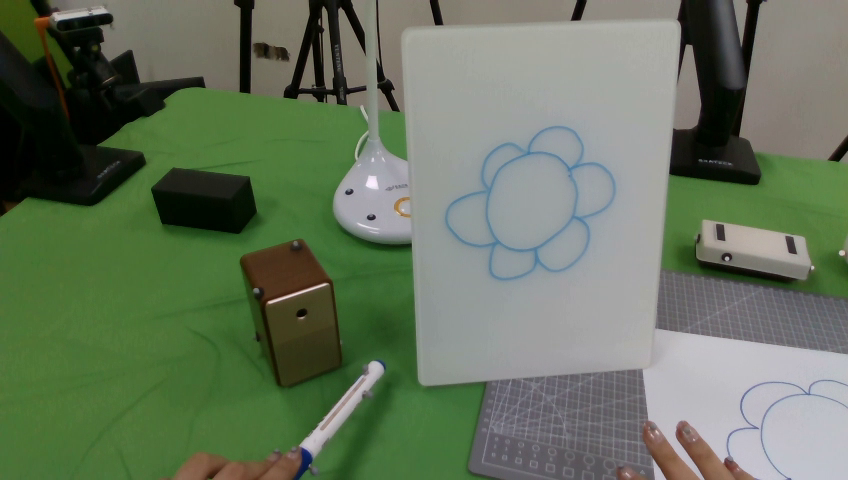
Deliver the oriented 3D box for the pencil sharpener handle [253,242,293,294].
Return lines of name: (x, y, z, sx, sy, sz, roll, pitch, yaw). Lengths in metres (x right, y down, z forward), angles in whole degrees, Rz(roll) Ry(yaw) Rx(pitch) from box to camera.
pencil sharpener handle: (-0.142, 0.021, 0.572, 0.036, 0.068, 0.030, -25, 43, -17)

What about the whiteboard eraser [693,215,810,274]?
whiteboard eraser: (0.359, 0.007, 0.672, 0.112, 0.042, 0.055, 10, 36, 14)

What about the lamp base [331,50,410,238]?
lamp base: (-0.042, -0.120, 0.718, 0.161, 0.182, 0.177, -22, 41, -26)

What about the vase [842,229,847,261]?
vase: (0.514, -0.046, 0.614, 0.098, 0.201, 0.097, 1, 38, -1)

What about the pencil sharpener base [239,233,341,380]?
pencil sharpener base: (-0.120, 0.059, 0.544, 0.061, 0.108, 0.076, -19, 41, -22)

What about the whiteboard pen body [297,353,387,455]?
whiteboard pen body: (-0.067, 0.133, 0.478, 0.017, 0.017, 0.140, 16, 31, 20)

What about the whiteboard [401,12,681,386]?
whiteboard: (0.091, -0.043, 0.564, 0.217, 0.307, 0.143, -3, 19, -4)

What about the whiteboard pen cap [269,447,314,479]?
whiteboard pen cap: (-0.094, 0.161, 0.432, 0.018, 0.018, 0.033, 17, 23, 21)
